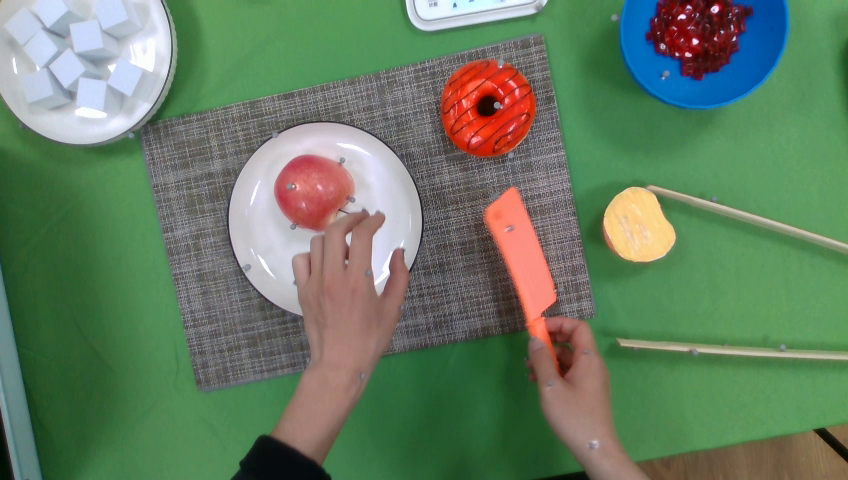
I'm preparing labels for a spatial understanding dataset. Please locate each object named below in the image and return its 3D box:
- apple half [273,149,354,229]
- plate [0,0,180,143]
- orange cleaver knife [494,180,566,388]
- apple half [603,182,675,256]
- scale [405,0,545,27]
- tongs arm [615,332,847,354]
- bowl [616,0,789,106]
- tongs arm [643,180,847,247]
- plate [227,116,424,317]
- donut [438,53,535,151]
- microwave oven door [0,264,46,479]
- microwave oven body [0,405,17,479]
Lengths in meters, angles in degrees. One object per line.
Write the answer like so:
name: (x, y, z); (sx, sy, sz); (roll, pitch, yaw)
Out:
apple half: (-0.118, -0.055, 0.626); (0.074, 0.053, 0.081); (42, 96, 4)
plate: (-0.361, -0.208, 0.655); (0.207, 0.039, 0.207); (0, 94, 5)
orange cleaver knife: (0.115, 0.042, 0.614); (0.012, 0.077, 0.211); (-15, 93, 35)
apple half: (0.211, -0.017, 0.619); (0.081, 0.033, 0.081); (4, 74, -15)
scale: (0.044, -0.329, 0.616); (0.148, 0.031, 0.201); (-7, 94, 6)
tongs arm: (0.393, 0.092, 0.615); (0.384, 0.026, 0.050); (4, 90, 4)
bowl: (0.255, -0.200, 0.584); (0.151, 0.077, 0.151); (0, 95, 5)
tongs arm: (0.407, 0.006, 0.611); (0.387, 0.028, 0.028); (19, 87, 3)
plate: (-0.102, -0.024, 0.642); (0.209, 0.038, 0.209); (0, 94, 5)
donut: (0.063, -0.140, 0.617); (0.099, 0.048, 0.099); (1, 95, 7)
microwave oven door: (-0.482, 0.143, 0.569); (0.039, 0.244, 0.356); (-9, 93, 6)
microwave oven body: (-0.632, 0.123, 0.585); (0.326, 0.260, 0.442); (-9, 94, 5)
